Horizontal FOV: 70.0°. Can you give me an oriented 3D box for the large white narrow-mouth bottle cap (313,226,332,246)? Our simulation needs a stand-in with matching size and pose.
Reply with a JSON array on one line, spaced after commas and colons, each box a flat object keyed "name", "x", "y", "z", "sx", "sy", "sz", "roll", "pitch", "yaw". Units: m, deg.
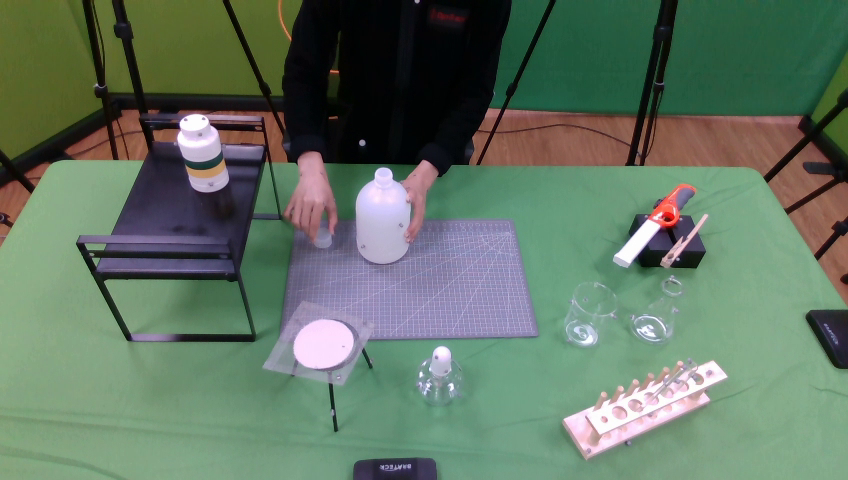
[{"name": "large white narrow-mouth bottle cap", "x": -0.194, "y": -0.008, "z": 1.160, "sx": 0.038, "sy": 0.024, "sz": 0.037, "roll": 2, "pitch": 45, "yaw": -2}]

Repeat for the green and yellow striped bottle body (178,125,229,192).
[{"name": "green and yellow striped bottle body", "x": -0.361, "y": -0.142, "z": 0.989, "sx": 0.063, "sy": 0.120, "sz": 0.063, "roll": 2, "pitch": 46, "yaw": -2}]

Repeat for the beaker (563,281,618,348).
[{"name": "beaker", "x": 0.283, "y": 0.129, "z": 1.041, "sx": 0.074, "sy": 0.101, "sz": 0.083, "roll": 11, "pitch": 46, "yaw": 7}]

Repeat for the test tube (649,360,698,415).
[{"name": "test tube", "x": 0.365, "y": 0.222, "z": 0.898, "sx": 0.017, "sy": 0.151, "sz": 0.017, "roll": 4, "pitch": 49, "yaw": -5}]

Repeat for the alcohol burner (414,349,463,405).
[{"name": "alcohol burner", "x": 0.023, "y": 0.205, "z": 0.939, "sx": 0.078, "sy": 0.120, "sz": 0.077, "roll": 1, "pitch": 47, "yaw": -1}]

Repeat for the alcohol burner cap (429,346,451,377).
[{"name": "alcohol burner cap", "x": 0.026, "y": 0.180, "z": 0.912, "sx": 0.034, "sy": 0.048, "sz": 0.033, "roll": 1, "pitch": 47, "yaw": -1}]

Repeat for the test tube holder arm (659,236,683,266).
[{"name": "test tube holder arm", "x": 0.472, "y": 0.020, "z": 1.149, "sx": 0.010, "sy": 0.015, "sz": 0.088, "roll": 35, "pitch": 54, "yaw": 27}]

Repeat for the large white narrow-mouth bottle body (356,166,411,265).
[{"name": "large white narrow-mouth bottle body", "x": -0.076, "y": -0.051, "z": 1.119, "sx": 0.102, "sy": 0.195, "sz": 0.101, "roll": 3, "pitch": 44, "yaw": -2}]

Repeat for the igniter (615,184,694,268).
[{"name": "igniter", "x": 0.459, "y": -0.035, "z": 1.197, "sx": 0.057, "sy": 0.025, "sz": 0.276, "roll": 32, "pitch": 55, "yaw": 27}]

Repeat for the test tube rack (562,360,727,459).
[{"name": "test tube rack", "x": 0.341, "y": 0.247, "z": 0.940, "sx": 0.243, "sy": 0.085, "sz": 0.066, "roll": -16, "pitch": 49, "yaw": -18}]

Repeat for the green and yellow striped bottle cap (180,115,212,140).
[{"name": "green and yellow striped bottle cap", "x": -0.358, "y": -0.177, "z": 0.951, "sx": 0.045, "sy": 0.020, "sz": 0.045, "roll": 2, "pitch": 45, "yaw": -1}]

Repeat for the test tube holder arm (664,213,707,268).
[{"name": "test tube holder arm", "x": 0.507, "y": -0.001, "z": 1.171, "sx": 0.013, "sy": 0.015, "sz": 0.178, "roll": 33, "pitch": 53, "yaw": 26}]

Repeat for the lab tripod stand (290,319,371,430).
[{"name": "lab tripod stand", "x": -0.146, "y": 0.194, "z": 0.923, "sx": 0.148, "sy": 0.132, "sz": 0.147, "roll": 1, "pitch": 47, "yaw": -1}]

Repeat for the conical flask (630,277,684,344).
[{"name": "conical flask", "x": 0.408, "y": 0.117, "z": 1.045, "sx": 0.075, "sy": 0.122, "sz": 0.075, "roll": 2, "pitch": 46, "yaw": -2}]

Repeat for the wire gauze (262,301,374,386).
[{"name": "wire gauze", "x": -0.150, "y": 0.148, "z": 0.873, "sx": 0.121, "sy": 0.011, "sz": 0.124, "roll": 14, "pitch": 46, "yaw": 12}]

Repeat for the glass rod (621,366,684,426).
[{"name": "glass rod", "x": 0.322, "y": 0.227, "z": 0.866, "sx": 0.008, "sy": 0.200, "sz": 0.008, "roll": 5, "pitch": 51, "yaw": -7}]
